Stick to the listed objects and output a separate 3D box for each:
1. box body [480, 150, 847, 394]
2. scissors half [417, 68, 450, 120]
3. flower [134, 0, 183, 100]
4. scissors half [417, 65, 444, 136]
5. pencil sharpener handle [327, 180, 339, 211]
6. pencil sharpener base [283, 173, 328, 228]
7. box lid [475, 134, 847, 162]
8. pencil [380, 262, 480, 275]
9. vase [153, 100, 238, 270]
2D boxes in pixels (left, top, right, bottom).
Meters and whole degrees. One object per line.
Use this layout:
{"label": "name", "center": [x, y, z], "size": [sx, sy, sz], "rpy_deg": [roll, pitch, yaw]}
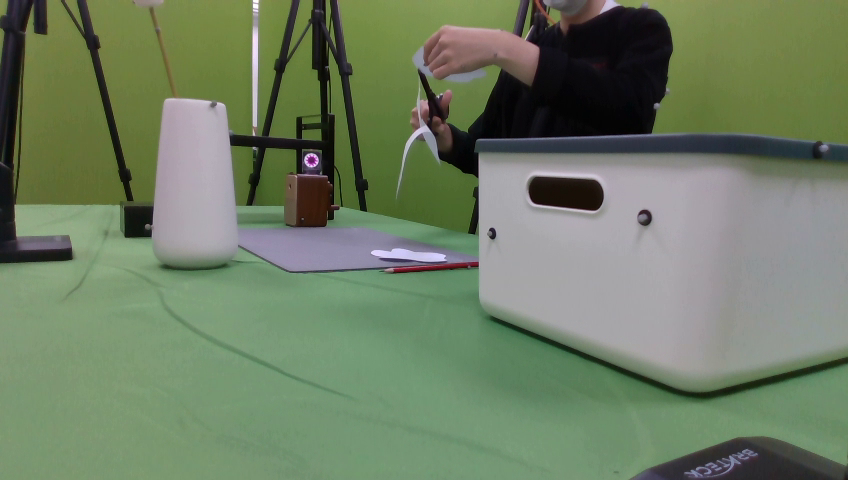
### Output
{"label": "box body", "center": [0.254, 0.002, 0.539], "size": [0.366, 0.160, 0.253], "rpy_deg": [-2, 8, -31]}
{"label": "scissors half", "center": [0.017, -0.266, 1.093], "size": [0.013, 0.040, 0.176], "rpy_deg": [11, -8, 22]}
{"label": "flower", "center": [-0.282, -0.147, 0.713], "size": [0.038, 0.362, 0.044], "rpy_deg": [-23, 24, -31]}
{"label": "scissors half", "center": [0.009, -0.248, 1.087], "size": [0.012, 0.040, 0.176], "rpy_deg": [16, -28, 24]}
{"label": "pencil sharpener handle", "center": [-0.194, -0.094, 1.256], "size": [0.031, 0.067, 0.036], "rpy_deg": [-2, -6, -36]}
{"label": "pencil sharpener base", "center": [-0.239, -0.081, 1.231], "size": [0.077, 0.107, 0.061], "rpy_deg": [-2, 8, -36]}
{"label": "box lid", "center": [0.256, -0.073, 0.528], "size": [0.373, 0.015, 0.262], "rpy_deg": [-2, 8, -31]}
{"label": "pencil", "center": [0.030, 0.036, 0.794], "size": [0.195, 0.012, 0.012], "rpy_deg": [-3, 9, -30]}
{"label": "vase", "center": [-0.278, -0.066, 0.736], "size": [0.098, 0.200, 0.098], "rpy_deg": [2, 9, 0]}
